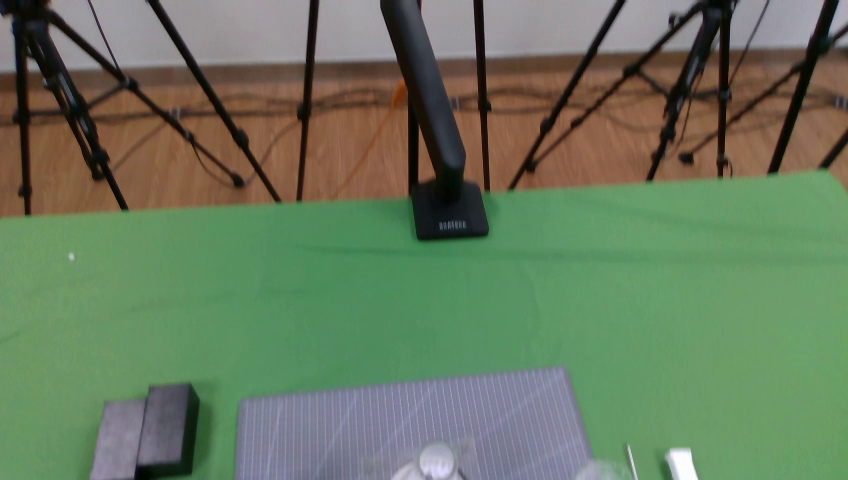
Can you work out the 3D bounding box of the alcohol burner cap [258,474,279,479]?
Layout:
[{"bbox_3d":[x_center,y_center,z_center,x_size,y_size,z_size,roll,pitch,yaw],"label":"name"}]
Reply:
[{"bbox_3d":[-0.166,0.268,0.646,0.034,0.048,0.033,3,44,-3],"label":"alcohol burner cap"}]

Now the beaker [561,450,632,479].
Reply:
[{"bbox_3d":[0.194,0.295,0.704,0.084,0.101,0.073,-37,63,-28],"label":"beaker"}]

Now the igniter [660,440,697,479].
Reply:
[{"bbox_3d":[0.333,0.371,0.704,0.057,0.025,0.273,4,52,-13],"label":"igniter"}]

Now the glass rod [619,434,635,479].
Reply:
[{"bbox_3d":[0.266,0.334,0.741,0.008,0.008,0.197,-1,52,-5],"label":"glass rod"}]

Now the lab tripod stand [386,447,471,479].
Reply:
[{"bbox_3d":[-0.001,0.297,0.668,0.148,0.132,0.147,2,54,-2],"label":"lab tripod stand"}]

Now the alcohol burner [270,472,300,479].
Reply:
[{"bbox_3d":[-0.167,0.292,0.673,0.078,0.120,0.077,2,50,-2],"label":"alcohol burner"}]

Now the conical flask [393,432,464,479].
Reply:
[{"bbox_3d":[0.006,0.219,0.570,0.075,0.123,0.074,2,52,-2],"label":"conical flask"}]

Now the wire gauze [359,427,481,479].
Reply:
[{"bbox_3d":[0.003,0.259,0.614,0.125,0.011,0.120,-6,55,-11],"label":"wire gauze"}]
